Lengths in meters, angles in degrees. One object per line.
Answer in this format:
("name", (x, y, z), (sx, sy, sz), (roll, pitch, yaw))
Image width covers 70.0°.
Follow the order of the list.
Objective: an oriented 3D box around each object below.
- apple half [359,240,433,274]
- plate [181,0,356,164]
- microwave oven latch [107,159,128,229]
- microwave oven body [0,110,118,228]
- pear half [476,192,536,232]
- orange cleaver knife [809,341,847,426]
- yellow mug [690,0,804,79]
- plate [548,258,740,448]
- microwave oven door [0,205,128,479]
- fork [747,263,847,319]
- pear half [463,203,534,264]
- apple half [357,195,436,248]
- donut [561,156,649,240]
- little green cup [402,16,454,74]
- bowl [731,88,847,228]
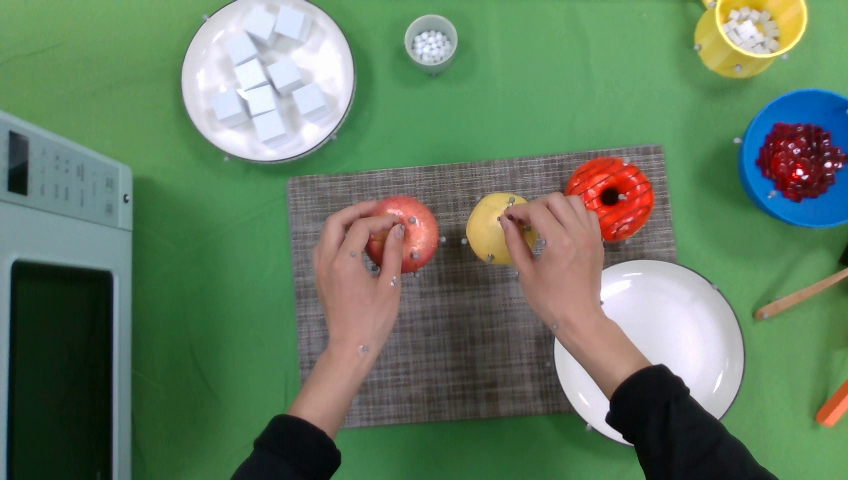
("apple half", (-0.028, 0.020, 0.628), (0.081, 0.081, 0.032), (3, 83, 3))
("plate", (-0.183, -0.191, 0.730), (0.207, 0.039, 0.207), (0, 84, 2))
("microwave oven latch", (-0.364, -0.054, 0.706), (0.030, 0.029, 0.079), (0, 85, 2))
("microwave oven body", (-0.511, 0.117, 0.599), (0.326, 0.260, 0.440), (-2, 85, 2))
("pear half", (0.091, -0.034, 0.648), (0.070, 0.088, 0.031), (20, 82, 8))
("orange cleaver knife", (0.484, 0.112, 0.653), (0.012, 0.077, 0.212), (27, 116, 3))
("yellow mug", (0.360, -0.258, 0.700), (0.100, 0.064, 0.130), (-37, 83, -1))
("plate", (0.242, 0.124, 0.680), (0.209, 0.038, 0.208), (0, 85, 2))
("microwave oven door", (-0.365, 0.154, 0.585), (0.039, 0.244, 0.355), (-2, 84, 2))
("fork", (0.453, 0.033, 0.659), (0.207, 0.018, 0.028), (-35, 89, 19))
("pear half", (0.076, -0.004, 0.633), (0.076, 0.110, 0.056), (21, 82, 7))
("apple half", (-0.026, -0.019, 0.631), (0.080, 0.075, 0.053), (2, 83, 13))
("donut", (0.206, -0.048, 0.695), (0.099, 0.048, 0.099), (0, 86, 5))
("little green cup", (0.006, -0.231, 0.726), (0.061, 0.039, 0.061), (0, 84, 3))
("bowl", (0.409, -0.083, 0.677), (0.151, 0.077, 0.151), (0, 85, 2))
